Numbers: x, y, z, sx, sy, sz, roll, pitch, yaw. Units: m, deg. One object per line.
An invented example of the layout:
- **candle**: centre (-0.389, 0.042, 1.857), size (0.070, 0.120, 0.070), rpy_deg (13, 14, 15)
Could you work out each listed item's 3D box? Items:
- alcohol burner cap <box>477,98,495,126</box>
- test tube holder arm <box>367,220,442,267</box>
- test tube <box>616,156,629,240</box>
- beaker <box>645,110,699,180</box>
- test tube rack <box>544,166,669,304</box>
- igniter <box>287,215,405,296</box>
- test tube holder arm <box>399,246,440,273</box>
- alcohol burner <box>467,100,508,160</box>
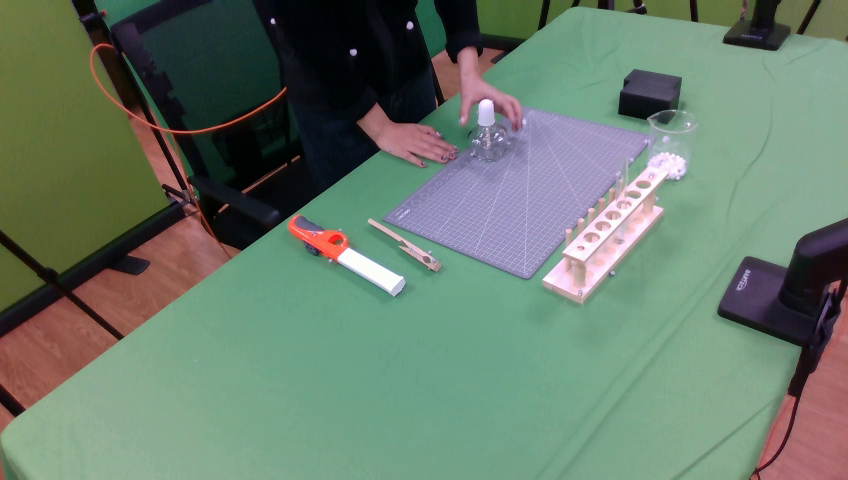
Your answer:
- **alcohol burner cap**: centre (0.113, -0.237, 1.107), size (0.034, 0.048, 0.033), rpy_deg (-3, 46, 3)
- **test tube holder arm**: centre (-0.035, 0.004, 0.985), size (0.177, 0.015, 0.013), rpy_deg (32, 89, 40)
- **test tube**: centre (0.284, -0.057, 0.869), size (0.017, 0.151, 0.017), rpy_deg (-8, 42, 8)
- **beaker**: centre (0.417, -0.160, 1.033), size (0.083, 0.101, 0.074), rpy_deg (25, 51, 35)
- **test tube rack**: centre (0.274, -0.018, 0.903), size (0.066, 0.085, 0.243), rpy_deg (26, 51, 35)
- **igniter**: centre (-0.137, 0.019, 0.980), size (0.274, 0.025, 0.057), rpy_deg (28, 62, 36)
- **test tube holder arm**: centre (-0.009, 0.027, 0.957), size (0.087, 0.015, 0.010), rpy_deg (34, 91, 40)
- **alcohol burner**: centre (0.118, -0.210, 1.130), size (0.078, 0.120, 0.077), rpy_deg (-6, 43, 6)
